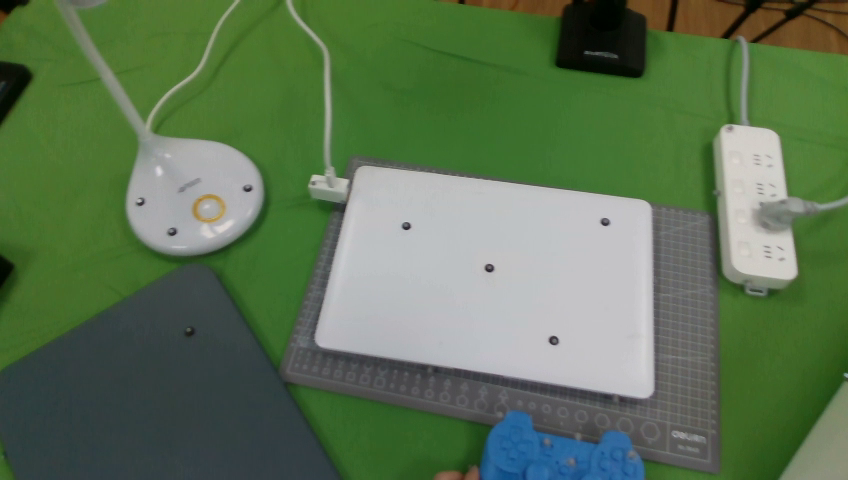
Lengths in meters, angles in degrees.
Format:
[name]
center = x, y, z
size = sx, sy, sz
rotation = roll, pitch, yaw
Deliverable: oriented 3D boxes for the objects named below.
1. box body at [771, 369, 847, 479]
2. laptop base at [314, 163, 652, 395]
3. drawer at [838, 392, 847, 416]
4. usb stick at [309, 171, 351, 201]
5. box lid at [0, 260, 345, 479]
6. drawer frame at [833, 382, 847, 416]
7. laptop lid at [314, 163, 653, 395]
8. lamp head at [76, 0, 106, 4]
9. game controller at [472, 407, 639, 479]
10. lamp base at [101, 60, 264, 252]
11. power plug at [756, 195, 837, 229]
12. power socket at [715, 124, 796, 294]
[box body]
center = 0.514, 0.175, 0.518
size = 0.363, 0.161, 0.252
rotation = -41, 69, -19
[laptop base]
center = 0.074, 0.035, 0.682
size = 0.354, 0.023, 0.234
rotation = 8, 66, 5
[drawer]
center = 0.545, 0.154, 0.564
size = 0.211, 0.074, 0.193
rotation = -37, 66, -15
[usb stick]
center = -0.105, -0.063, 0.723
size = 0.059, 0.027, 0.021
rotation = 12, 57, 4
[box lid]
center = -0.255, 0.209, 0.598
size = 0.263, 0.015, 0.368
rotation = -32, 67, -15
[drawer frame]
center = 0.541, 0.154, 0.566
size = 0.213, 0.083, 0.200
rotation = -35, 68, -21
[laptop lid]
center = 0.073, 0.031, 0.670
size = 0.356, 0.013, 0.240
rotation = 9, 65, 6
[lamp head]
center = -0.241, -0.236, 0.396
size = 0.123, 0.112, 0.112
rotation = 37, 66, -6
[game controller]
center = 0.125, 0.215, 0.568
size = 0.155, 0.052, 0.096
rotation = 10, 60, 6
[lamp base]
center = -0.285, -0.100, 0.668
size = 0.178, 0.182, 0.160
rotation = 35, 67, 21
[power plug]
center = 0.409, -0.024, 0.674
size = 0.072, 0.053, 0.035
rotation = 19, 63, 10
[power socket]
center = 0.386, -0.045, 0.712
size = 0.072, 0.033, 0.225
rotation = 9, 62, 5
